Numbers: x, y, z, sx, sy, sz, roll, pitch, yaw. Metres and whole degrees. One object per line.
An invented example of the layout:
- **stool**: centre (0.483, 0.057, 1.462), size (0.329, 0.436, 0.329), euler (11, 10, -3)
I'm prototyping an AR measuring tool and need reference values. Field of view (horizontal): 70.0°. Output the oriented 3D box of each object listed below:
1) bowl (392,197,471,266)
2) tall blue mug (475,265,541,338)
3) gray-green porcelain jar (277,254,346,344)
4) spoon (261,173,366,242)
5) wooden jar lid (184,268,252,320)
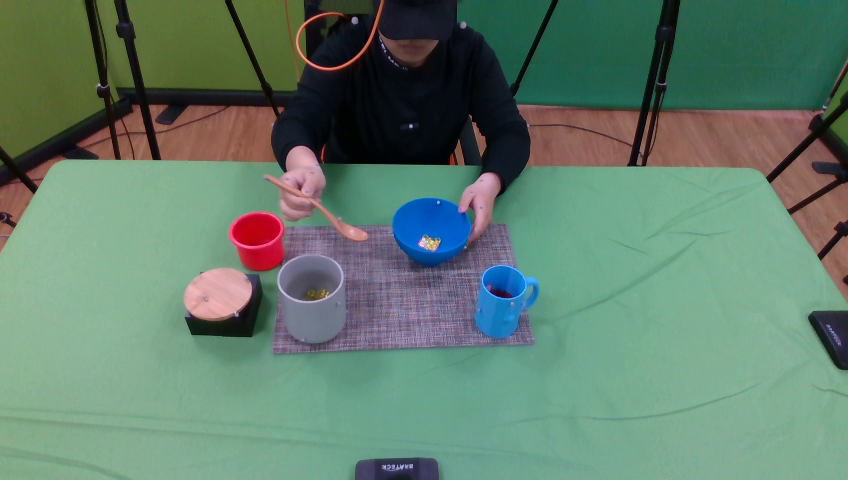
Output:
- **bowl**: centre (0.012, -0.004, 1.159), size (0.151, 0.077, 0.150), euler (2, 46, -2)
- **tall blue mug**: centre (0.142, 0.099, 1.047), size (0.077, 0.108, 0.107), euler (33, 53, 27)
- **gray-green porcelain jar**: centre (-0.184, 0.102, 1.008), size (0.106, 0.127, 0.105), euler (2, 46, -2)
- **spoon**: centre (-0.177, -0.053, 0.980), size (0.194, 0.021, 0.041), euler (37, 24, -16)
- **wooden jar lid**: centre (-0.343, 0.092, 1.015), size (0.108, 0.021, 0.107), euler (3, 46, -3)
